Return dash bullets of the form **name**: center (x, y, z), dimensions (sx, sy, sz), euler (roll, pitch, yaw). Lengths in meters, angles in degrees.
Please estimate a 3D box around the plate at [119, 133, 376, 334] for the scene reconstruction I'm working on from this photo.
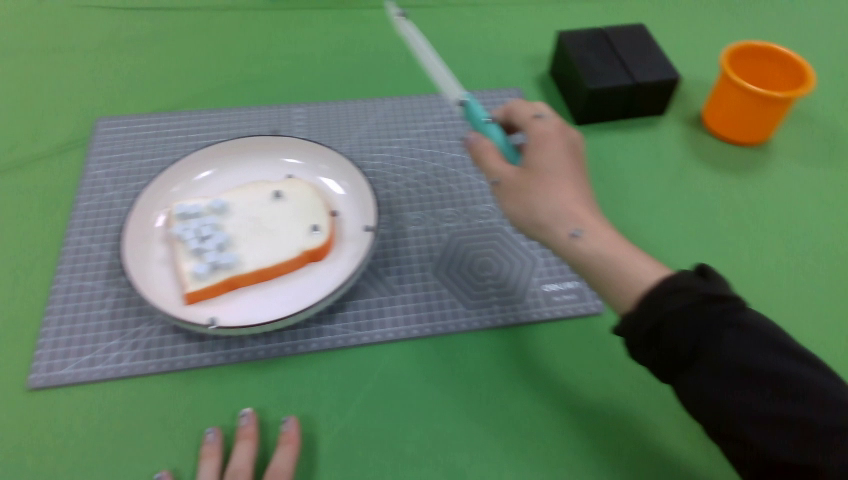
- **plate**: center (-0.145, -0.008, 0.517), dimensions (0.209, 0.038, 0.207), euler (2, 53, -2)

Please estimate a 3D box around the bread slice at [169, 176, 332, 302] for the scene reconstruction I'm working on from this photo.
- **bread slice**: center (-0.148, -0.011, 0.522), dimensions (0.132, 0.019, 0.104), euler (-19, 56, -15)

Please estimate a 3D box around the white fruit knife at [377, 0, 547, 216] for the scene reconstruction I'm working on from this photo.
- **white fruit knife**: center (0.028, -0.104, 0.468), dimensions (0.016, 0.027, 0.207), euler (-40, 90, -25)
